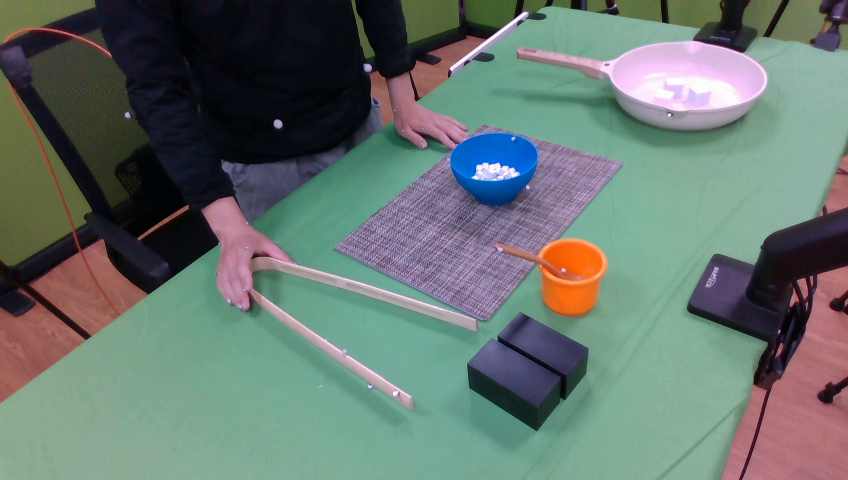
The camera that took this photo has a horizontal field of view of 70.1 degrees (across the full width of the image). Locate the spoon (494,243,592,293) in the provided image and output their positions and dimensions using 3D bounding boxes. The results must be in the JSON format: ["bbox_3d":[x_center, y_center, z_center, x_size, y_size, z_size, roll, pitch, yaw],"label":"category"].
[{"bbox_3d":[0.162,0.034,0.808,0.021,0.195,0.041,-47,40,21],"label":"spoon"}]

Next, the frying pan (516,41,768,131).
[{"bbox_3d":[0.424,-0.338,1.236,0.486,0.103,0.307,19,45,15],"label":"frying pan"}]

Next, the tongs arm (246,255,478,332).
[{"bbox_3d":[-0.101,0.076,0.890,0.385,0.028,0.028,14,48,23],"label":"tongs arm"}]

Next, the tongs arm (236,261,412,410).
[{"bbox_3d":[-0.148,0.120,0.839,0.381,0.026,0.051,24,49,32],"label":"tongs arm"}]

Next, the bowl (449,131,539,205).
[{"bbox_3d":[0.121,-0.114,1.034,0.151,0.077,0.150,-4,41,4],"label":"bowl"}]
